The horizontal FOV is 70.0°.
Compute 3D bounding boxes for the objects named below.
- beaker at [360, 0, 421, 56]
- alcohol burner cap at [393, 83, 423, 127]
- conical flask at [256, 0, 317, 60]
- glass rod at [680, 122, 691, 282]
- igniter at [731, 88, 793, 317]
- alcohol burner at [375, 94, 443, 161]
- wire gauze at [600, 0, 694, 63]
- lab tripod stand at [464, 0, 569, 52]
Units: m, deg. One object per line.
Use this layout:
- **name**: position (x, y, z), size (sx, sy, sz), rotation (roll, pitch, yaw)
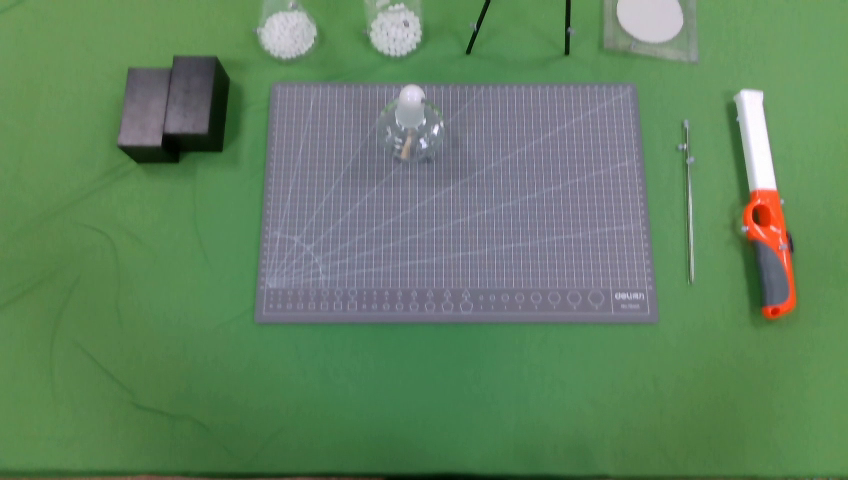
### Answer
- **beaker**: position (-0.036, -0.276, 0.724), size (0.084, 0.101, 0.073), rotation (-40, 79, -10)
- **alcohol burner cap**: position (-0.016, -0.146, 0.642), size (0.034, 0.048, 0.033), rotation (3, 68, -7)
- **conical flask**: position (-0.171, -0.273, 0.710), size (0.075, 0.122, 0.075), rotation (0, 75, 0)
- **glass rod**: position (0.307, -0.047, 0.713), size (0.008, 0.008, 0.198), rotation (5, 75, 1)
- **igniter**: position (0.391, -0.048, 0.704), size (0.057, 0.025, 0.275), rotation (3, 75, -11)
- **alcohol burner**: position (-0.017, -0.135, 0.676), size (0.078, 0.119, 0.077), rotation (1, 74, -2)
- **wire gauze**: position (0.287, -0.290, 0.777), size (0.125, 0.011, 0.121), rotation (7, 76, 0)
- **lab tripod stand**: position (0.115, -0.288, 0.710), size (0.148, 0.132, 0.147), rotation (0, 77, 0)
